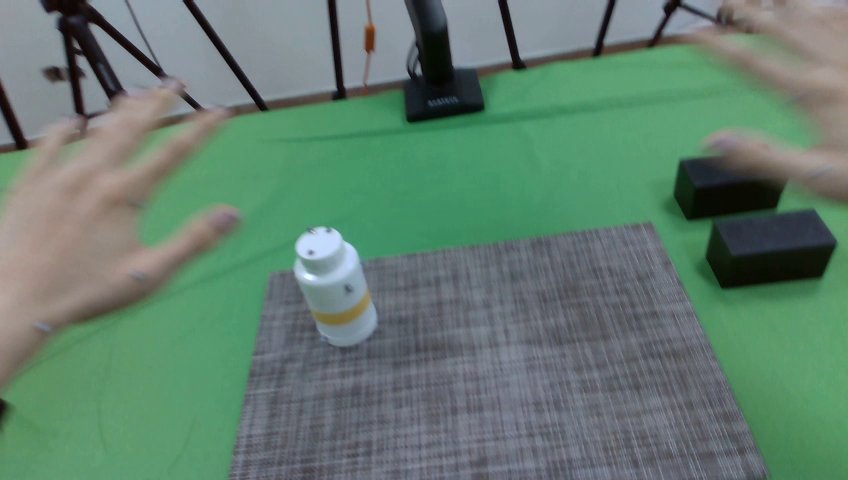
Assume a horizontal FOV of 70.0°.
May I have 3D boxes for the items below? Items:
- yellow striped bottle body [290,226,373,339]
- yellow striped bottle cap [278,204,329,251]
[{"bbox_3d":[-0.093,0.040,0.602,0.063,0.121,0.062,-5,44,6],"label":"yellow striped bottle body"},{"bbox_3d":[-0.109,-0.012,0.551,0.044,0.019,0.044,-6,51,8],"label":"yellow striped bottle cap"}]
